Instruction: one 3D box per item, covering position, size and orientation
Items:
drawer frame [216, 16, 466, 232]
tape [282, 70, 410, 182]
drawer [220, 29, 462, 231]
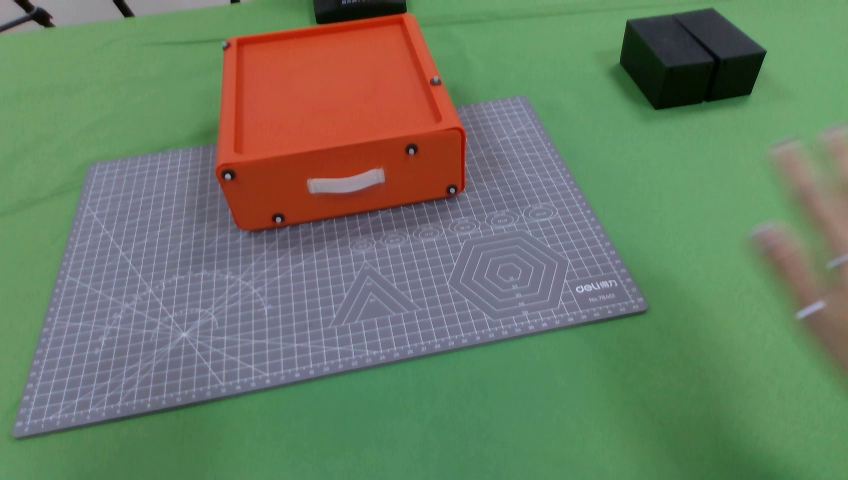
[{"bbox_3d":[-0.082,-0.117,0.571,0.202,0.083,0.211,-11,45,-6],"label":"drawer frame"},{"bbox_3d":[-0.074,-0.110,0.575,0.117,0.053,0.115,-2,46,2],"label":"tape"},{"bbox_3d":[-0.082,-0.115,0.572,0.195,0.074,0.209,-11,45,-5],"label":"drawer"}]
